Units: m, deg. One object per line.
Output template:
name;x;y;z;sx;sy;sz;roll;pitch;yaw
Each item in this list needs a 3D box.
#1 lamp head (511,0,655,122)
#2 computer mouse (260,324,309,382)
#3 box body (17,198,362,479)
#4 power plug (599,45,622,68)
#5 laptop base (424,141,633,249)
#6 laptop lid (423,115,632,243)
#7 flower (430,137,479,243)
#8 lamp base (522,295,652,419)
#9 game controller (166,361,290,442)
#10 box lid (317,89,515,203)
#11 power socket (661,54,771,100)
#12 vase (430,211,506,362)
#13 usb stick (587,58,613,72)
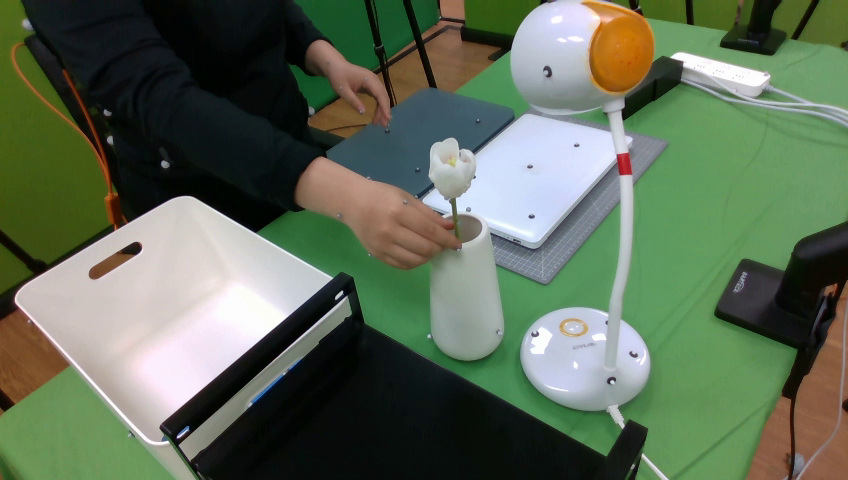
lamp head;0.155;-0.168;0.564;0.113;0.113;0.122;-18;23;-12
computer mouse;-0.157;0.155;0.793;0.116;0.041;0.063;29;50;24
box body;-0.285;0.123;0.766;0.361;0.161;0.255;25;49;33
power plug;0.437;-0.422;1.412;0.053;0.035;0.072;-19;75;-46
laptop base;0.194;-0.117;1.087;0.233;0.023;0.355;21;47;34
laptop lid;0.190;-0.126;1.081;0.239;0.013;0.358;23;48;34
flower;0.041;0.011;0.691;0.044;0.363;0.038;15;62;14
lamp base;0.201;0.095;0.710;0.161;0.181;0.177;-16;43;-10
game controller;-0.233;0.210;0.736;0.096;0.052;0.155;27;52;32
box lid;-0.009;-0.207;1.236;0.261;0.015;0.372;23;49;32
power socket;0.615;-0.348;1.285;0.072;0.033;0.225;-36;48;-29
vase;0.054;0.061;0.757;0.098;0.201;0.097;-3;40;3
usb stick;0.401;-0.399;1.380;0.059;0.027;0.021;1;48;20
